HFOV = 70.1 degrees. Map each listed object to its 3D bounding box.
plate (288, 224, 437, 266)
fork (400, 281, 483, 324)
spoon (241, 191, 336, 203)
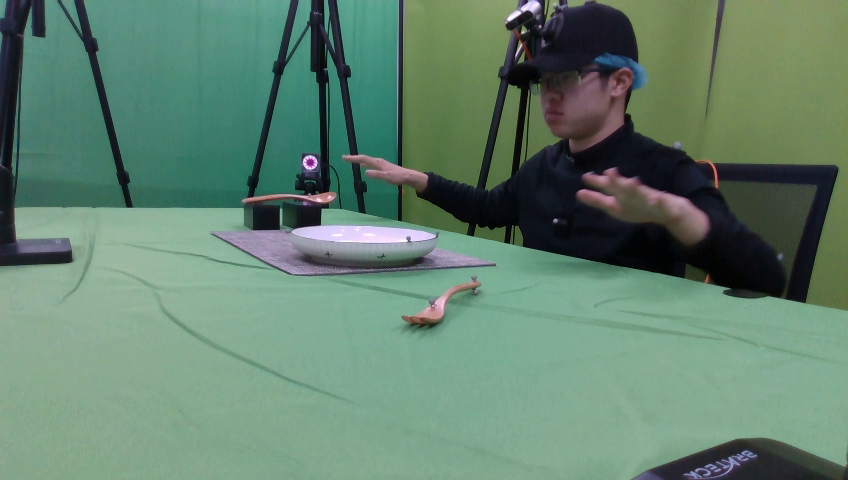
[{"bbox_3d":[-0.086,0.007,0.852,0.208,0.039,0.207,2,7,0],"label":"plate"},{"bbox_3d":[0.025,0.057,0.590,0.028,0.018,0.208,-2,7,21],"label":"fork"},{"bbox_3d":[-0.271,-0.087,1.225,0.195,0.021,0.041,-2,31,-31],"label":"spoon"}]
